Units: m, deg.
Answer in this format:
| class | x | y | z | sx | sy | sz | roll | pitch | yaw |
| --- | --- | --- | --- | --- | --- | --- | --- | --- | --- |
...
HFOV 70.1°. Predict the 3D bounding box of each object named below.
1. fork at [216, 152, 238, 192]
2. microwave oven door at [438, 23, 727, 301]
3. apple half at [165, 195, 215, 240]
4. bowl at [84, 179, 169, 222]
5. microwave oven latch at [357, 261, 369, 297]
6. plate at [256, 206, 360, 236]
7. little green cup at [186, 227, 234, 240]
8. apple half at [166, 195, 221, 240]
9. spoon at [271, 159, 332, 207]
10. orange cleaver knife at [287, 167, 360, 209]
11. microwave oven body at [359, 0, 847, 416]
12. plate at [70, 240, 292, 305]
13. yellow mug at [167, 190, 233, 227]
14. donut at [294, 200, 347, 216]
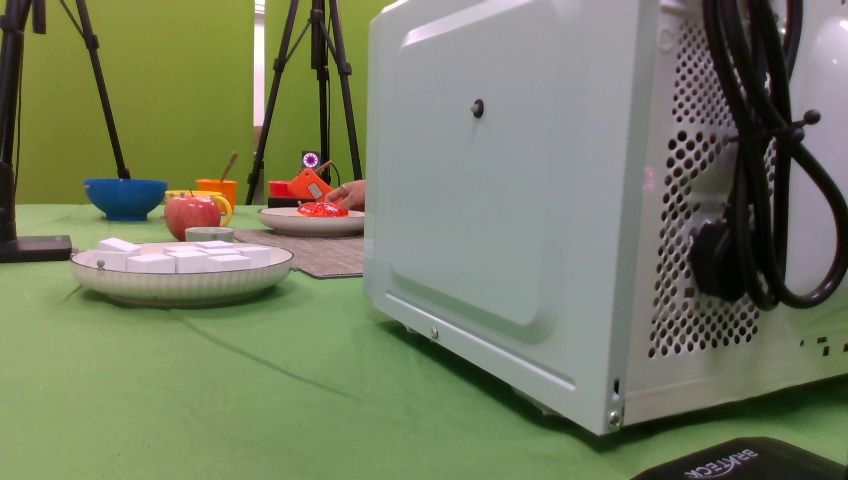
| class | x | y | z | sx | sy | sz | roll | pitch | yaw |
| --- | --- | --- | --- | --- | --- | --- | --- | --- | --- |
| fork | -0.455 | -0.132 | 1.366 | 0.028 | 0.018 | 0.207 | -2 | -35 | -37 |
| microwave oven door | 0.181 | -0.072 | 0.621 | 0.358 | 0.243 | 0.039 | -2 | 8 | -29 |
| apple half | -0.377 | -0.038 | 0.964 | 0.082 | 0.081 | 0.032 | -4 | 15 | -39 |
| bowl | -0.584 | -0.078 | 1.194 | 0.151 | 0.077 | 0.151 | 3 | 8 | 0 |
| microwave oven latch | -0.019 | 0.033 | 0.531 | 0.079 | 0.029 | 0.030 | -1 | 7 | -27 |
| plate | -0.202 | -0.037 | 1.120 | 0.209 | 0.038 | 0.209 | 2 | 8 | 0 |
| little green cup | -0.284 | 0.005 | 0.805 | 0.061 | 0.038 | 0.061 | 2 | 8 | 0 |
| apple half | -0.352 | -0.031 | 0.935 | 0.081 | 0.074 | 0.053 | 1 | 11 | -40 |
| spoon | -0.308 | -0.142 | 1.514 | 0.193 | 0.021 | 0.041 | -41 | 5 | 8 |
| orange cleaver knife | -0.209 | -0.089 | 1.383 | 0.212 | 0.077 | 0.012 | 31 | 3 | -15 |
| microwave oven body | 0.211 | -0.047 | 0.474 | 0.444 | 0.260 | 0.324 | -1 | 7 | -28 |
| plate | -0.242 | 0.031 | 0.618 | 0.208 | 0.039 | 0.207 | 2 | 8 | 0 |
| yellow mug | -0.415 | -0.057 | 1.132 | 0.130 | 0.064 | 0.100 | 6 | 8 | 16 |
| donut | -0.193 | -0.049 | 1.134 | 0.099 | 0.048 | 0.099 | 4 | 8 | 0 |
